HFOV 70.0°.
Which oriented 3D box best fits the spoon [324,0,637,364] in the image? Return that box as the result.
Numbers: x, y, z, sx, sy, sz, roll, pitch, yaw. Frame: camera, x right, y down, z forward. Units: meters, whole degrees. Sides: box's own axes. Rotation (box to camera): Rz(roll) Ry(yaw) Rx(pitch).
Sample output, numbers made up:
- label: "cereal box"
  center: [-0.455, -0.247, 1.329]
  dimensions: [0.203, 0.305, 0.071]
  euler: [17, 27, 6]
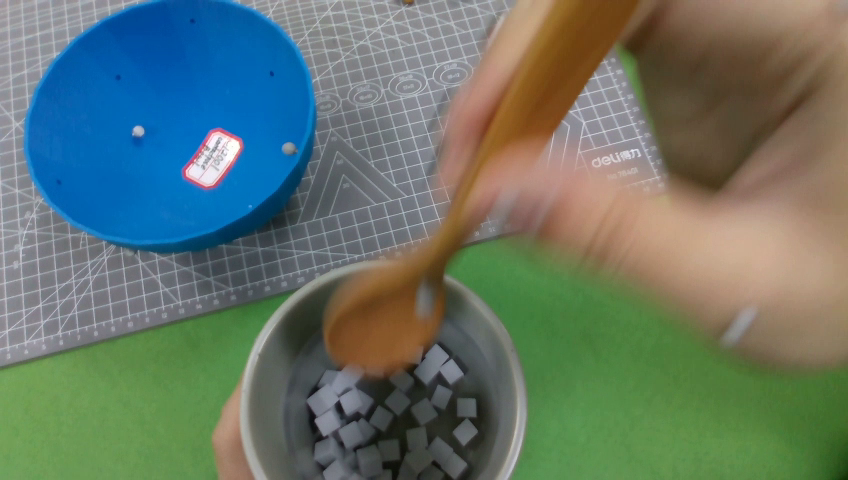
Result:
- label: "spoon"
  center: [0.008, -0.006, 0.143]
  dimensions: [0.042, 0.194, 0.021]
  euler: [0, 65, -18]

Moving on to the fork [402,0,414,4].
- label: "fork"
  center: [-0.040, -0.266, 0.422]
  dimensions: [0.028, 0.018, 0.207]
  euler: [-18, 90, -11]

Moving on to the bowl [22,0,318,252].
- label: "bowl"
  center: [-0.130, -0.055, 0.348]
  dimensions: [0.151, 0.077, 0.150]
  euler: [0, 70, 0]

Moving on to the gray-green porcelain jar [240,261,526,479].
- label: "gray-green porcelain jar"
  center: [-0.013, 0.078, 0.278]
  dimensions: [0.106, 0.127, 0.105]
  euler: [0, 70, 1]
